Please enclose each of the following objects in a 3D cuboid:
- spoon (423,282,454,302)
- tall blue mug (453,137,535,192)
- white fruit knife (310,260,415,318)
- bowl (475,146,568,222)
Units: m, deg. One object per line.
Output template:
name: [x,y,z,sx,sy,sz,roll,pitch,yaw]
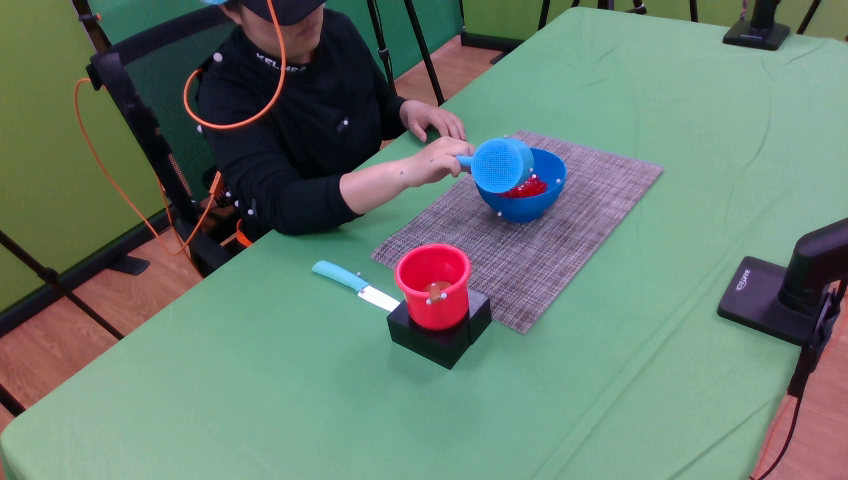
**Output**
spoon: [0.015,0.062,0.733,0.041,0.021,0.194,-5,-4,3]
tall blue mug: [0.106,-0.121,0.895,0.107,0.077,0.108,36,19,9]
white fruit knife: [-0.094,0.074,0.920,0.206,0.016,0.027,24,77,30]
bowl: [0.161,-0.083,1.000,0.151,0.077,0.150,-5,40,5]
